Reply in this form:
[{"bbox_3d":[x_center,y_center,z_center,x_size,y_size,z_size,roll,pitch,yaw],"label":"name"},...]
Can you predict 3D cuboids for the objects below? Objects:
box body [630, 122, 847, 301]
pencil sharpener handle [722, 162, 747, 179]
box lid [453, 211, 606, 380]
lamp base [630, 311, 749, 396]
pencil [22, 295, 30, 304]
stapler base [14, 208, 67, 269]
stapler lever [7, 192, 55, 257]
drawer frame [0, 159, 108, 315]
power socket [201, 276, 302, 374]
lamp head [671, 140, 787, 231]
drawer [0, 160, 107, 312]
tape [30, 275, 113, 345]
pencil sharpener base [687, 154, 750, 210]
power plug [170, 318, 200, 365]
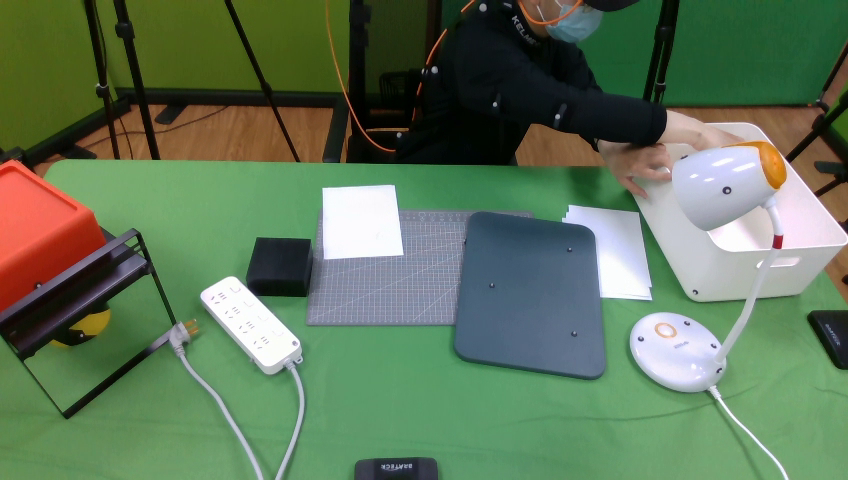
[{"bbox_3d":[0.594,-0.062,1.202,0.254,0.161,0.361,-4,47,-7],"label":"box body"},{"bbox_3d":[0.672,-0.146,1.298,0.031,0.068,0.036,-9,82,-18],"label":"pencil sharpener handle"},{"bbox_3d":[0.200,0.085,1.138,0.263,0.015,0.369,8,47,3],"label":"box lid"},{"bbox_3d":[0.447,0.143,0.983,0.161,0.181,0.178,-24,55,-24],"label":"lamp base"},{"bbox_3d":[-0.590,0.010,0.883,0.012,0.012,0.193,-17,61,-20],"label":"pencil"},{"bbox_3d":[-0.577,-0.010,0.903,0.041,0.024,0.130,-30,57,-25],"label":"stapler base"},{"bbox_3d":[-0.575,-0.026,0.885,0.027,0.040,0.117,-31,56,-25],"label":"stapler lever"},{"bbox_3d":[-0.611,0.000,0.863,0.201,0.083,0.213,27,51,20],"label":"drawer frame"},{"bbox_3d":[-0.297,0.141,1.034,0.072,0.033,0.225,-34,58,-30],"label":"power socket"},{"bbox_3d":[0.415,-0.078,0.811,0.113,0.123,0.112,12,70,-37],"label":"lamp head"},{"bbox_3d":[-0.610,-0.001,0.866,0.194,0.073,0.211,29,52,21],"label":"drawer"},{"bbox_3d":[-0.593,0.117,1.021,0.117,0.053,0.116,3,46,-2],"label":"tape"},{"bbox_3d":[0.624,-0.123,1.288,0.077,0.107,0.061,-9,51,-18],"label":"pencil sharpener base"},{"bbox_3d":[-0.392,0.167,1.014,0.052,0.035,0.072,-30,91,-23],"label":"power plug"}]
